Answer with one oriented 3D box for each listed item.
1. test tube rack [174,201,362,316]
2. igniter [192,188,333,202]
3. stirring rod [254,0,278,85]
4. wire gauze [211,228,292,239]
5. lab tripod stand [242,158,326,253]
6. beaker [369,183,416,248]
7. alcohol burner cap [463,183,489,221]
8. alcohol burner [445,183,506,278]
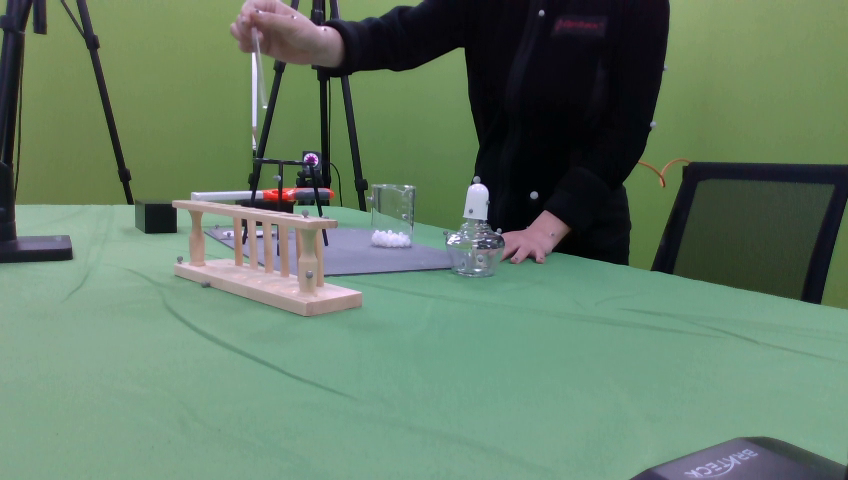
[{"bbox_3d":[-0.169,0.010,0.622,0.241,0.085,0.067,9,9,41],"label":"test tube rack"},{"bbox_3d":[-0.316,-0.090,1.213,0.278,0.025,0.057,-5,12,-32],"label":"igniter"},{"bbox_3d":[-0.203,-0.277,0.749,0.006,0.176,0.014,-13,-3,5],"label":"stirring rod"},{"bbox_3d":[-0.298,-0.013,1.039,0.122,0.011,0.124,-2,6,-27],"label":"wire gauze"},{"bbox_3d":[-0.207,-0.054,0.895,0.148,0.131,0.148,3,5,0],"label":"lab tripod stand"},{"bbox_3d":[-0.050,-0.039,0.971,0.074,0.100,0.083,-1,9,-25],"label":"beaker"},{"bbox_3d":[0.067,-0.048,0.765,0.034,0.048,0.034,5,5,0],"label":"alcohol burner cap"},{"bbox_3d":[0.066,-0.013,0.771,0.078,0.119,0.078,0,7,0],"label":"alcohol burner"}]
